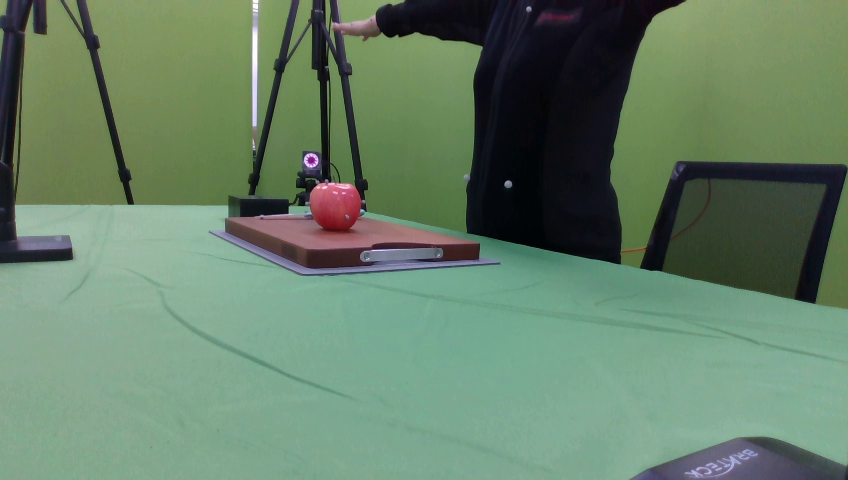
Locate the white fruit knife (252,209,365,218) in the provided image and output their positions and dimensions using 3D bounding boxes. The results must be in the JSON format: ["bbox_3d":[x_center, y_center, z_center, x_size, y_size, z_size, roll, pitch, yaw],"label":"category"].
[{"bbox_3d":[-0.209,-0.047,1.106,0.208,0.016,0.027,-3,-4,-30],"label":"white fruit knife"}]

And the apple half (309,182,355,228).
[{"bbox_3d":[-0.152,-0.058,0.978,0.082,0.081,0.032,-2,11,-27],"label":"apple half"}]

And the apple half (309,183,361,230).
[{"bbox_3d":[-0.135,-0.052,0.945,0.081,0.074,0.053,3,11,-29],"label":"apple half"}]
